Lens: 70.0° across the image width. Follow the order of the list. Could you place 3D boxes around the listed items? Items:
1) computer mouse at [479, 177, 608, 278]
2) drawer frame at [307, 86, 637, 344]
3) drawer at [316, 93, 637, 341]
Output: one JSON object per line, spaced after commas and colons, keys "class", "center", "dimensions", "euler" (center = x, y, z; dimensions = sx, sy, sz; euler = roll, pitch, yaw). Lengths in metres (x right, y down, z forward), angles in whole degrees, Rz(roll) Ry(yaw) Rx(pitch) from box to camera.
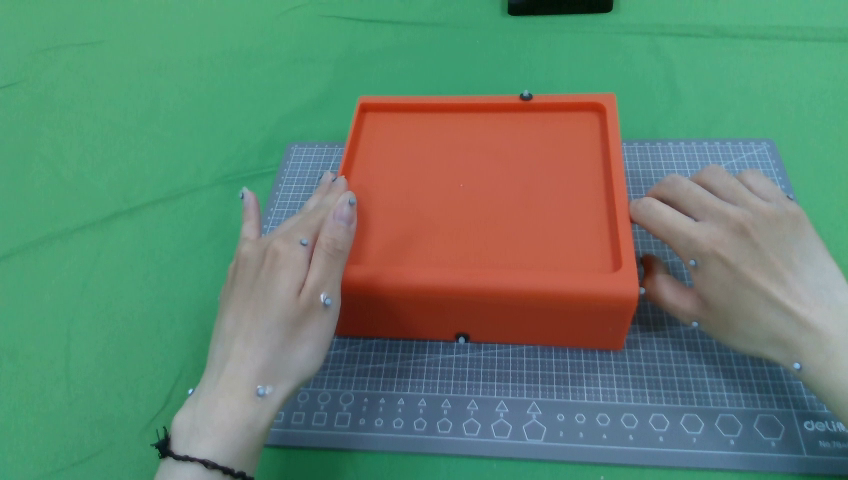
{"class": "computer mouse", "center": [0.092, -0.018, 0.460], "dimensions": [0.062, 0.041, 0.117], "euler": [11, 39, 35]}
{"class": "drawer frame", "center": [0.042, -0.026, 0.464], "dimensions": [0.213, 0.083, 0.200], "euler": [1, 52, 8]}
{"class": "drawer", "center": [0.044, -0.026, 0.466], "dimensions": [0.211, 0.074, 0.193], "euler": [1, 53, 9]}
